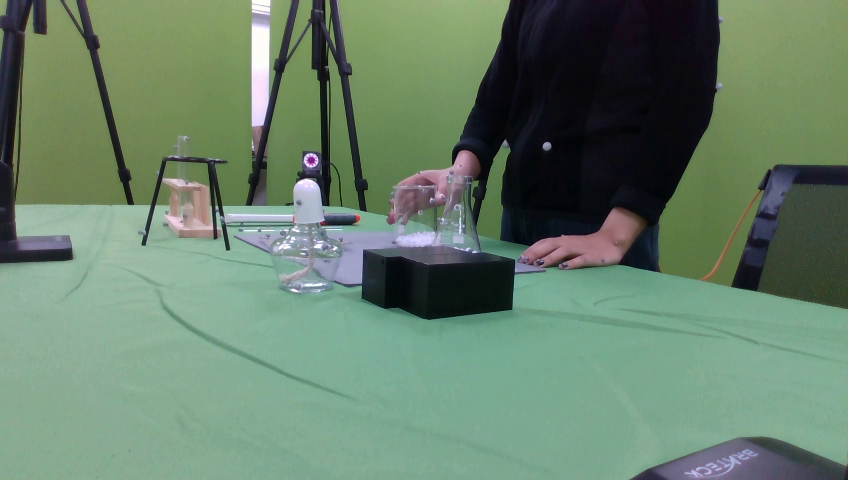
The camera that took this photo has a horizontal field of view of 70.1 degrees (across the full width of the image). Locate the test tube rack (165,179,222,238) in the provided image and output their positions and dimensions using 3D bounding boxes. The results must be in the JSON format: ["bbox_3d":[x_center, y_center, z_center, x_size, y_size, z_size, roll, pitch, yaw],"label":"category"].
[{"bbox_3d":[-0.423,-0.062,1.098,0.067,0.085,0.241,-2,9,-28],"label":"test tube rack"}]

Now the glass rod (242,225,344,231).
[{"bbox_3d":[-0.246,-0.024,1.154,0.201,0.008,0.008,-3,8,-31],"label":"glass rod"}]

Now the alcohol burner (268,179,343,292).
[{"bbox_3d":[-0.124,-0.005,0.637,0.078,0.119,0.078,4,8,0],"label":"alcohol burner"}]

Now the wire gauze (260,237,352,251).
[{"bbox_3d":[-0.185,0.004,0.938,0.122,0.011,0.124,-1,5,-24],"label":"wire gauze"}]

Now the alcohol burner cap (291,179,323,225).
[{"bbox_3d":[-0.124,-0.040,0.632,0.034,0.048,0.034,-3,10,1],"label":"alcohol burner cap"}]

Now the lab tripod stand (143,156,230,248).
[{"bbox_3d":[-0.338,-0.058,0.908,0.148,0.131,0.148,4,7,0],"label":"lab tripod stand"}]

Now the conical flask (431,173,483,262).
[{"bbox_3d":[0.049,-0.033,0.857,0.075,0.122,0.075,2,7,0],"label":"conical flask"}]

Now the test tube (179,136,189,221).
[{"bbox_3d":[-0.425,-0.108,1.070,0.017,0.150,0.017,4,9,0],"label":"test tube"}]

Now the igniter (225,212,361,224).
[{"bbox_3d":[-0.262,-0.044,1.240,0.278,0.025,0.057,-2,-1,-31],"label":"igniter"}]

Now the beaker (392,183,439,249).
[{"bbox_3d":[-0.011,-0.040,0.967,0.074,0.100,0.084,3,9,25],"label":"beaker"}]
